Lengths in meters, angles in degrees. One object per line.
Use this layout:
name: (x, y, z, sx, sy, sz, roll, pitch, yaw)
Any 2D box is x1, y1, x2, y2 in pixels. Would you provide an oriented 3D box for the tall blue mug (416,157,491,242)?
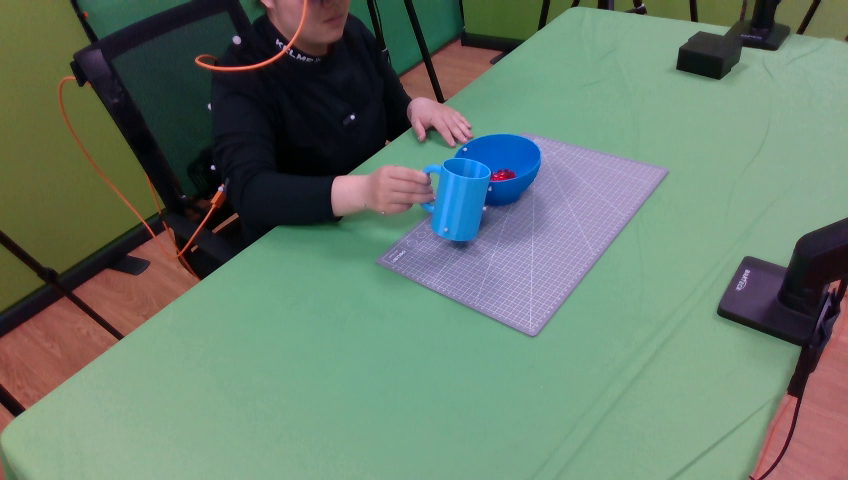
tall blue mug: (0.040, -0.065, 0.929, 0.107, 0.108, 0.077, 9, 31, -2)

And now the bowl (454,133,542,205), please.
bowl: (0.129, -0.112, 1.045, 0.151, 0.077, 0.150, -5, 40, 5)
